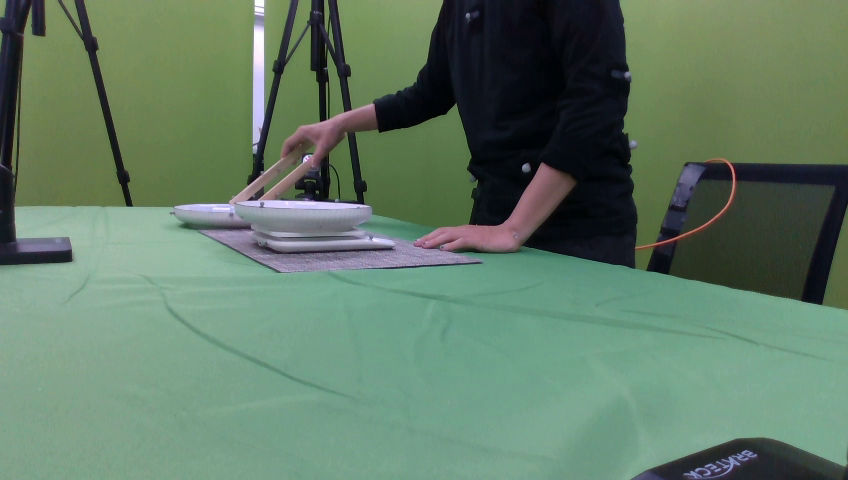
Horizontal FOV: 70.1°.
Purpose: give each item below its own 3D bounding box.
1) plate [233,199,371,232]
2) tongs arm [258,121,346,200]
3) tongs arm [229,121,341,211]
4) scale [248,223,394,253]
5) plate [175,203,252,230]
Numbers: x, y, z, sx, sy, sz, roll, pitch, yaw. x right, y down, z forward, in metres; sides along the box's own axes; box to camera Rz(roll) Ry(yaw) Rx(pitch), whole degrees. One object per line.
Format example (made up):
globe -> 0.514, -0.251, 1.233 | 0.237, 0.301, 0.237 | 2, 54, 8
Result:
plate -> -0.188, -0.039, 0.939 | 0.209, 0.038, 0.209 | 2, 7, 0
tongs arm -> -0.272, -0.173, 1.371 | 0.028, 0.028, 0.388 | 3, 37, 27
tongs arm -> -0.306, -0.179, 1.387 | 0.050, 0.026, 0.385 | 6, 38, 25
scale -> -0.162, -0.006, 0.954 | 0.202, 0.031, 0.148 | -2, 8, -32
plate -> -0.381, -0.047, 1.199 | 0.208, 0.039, 0.207 | 2, 7, 0
